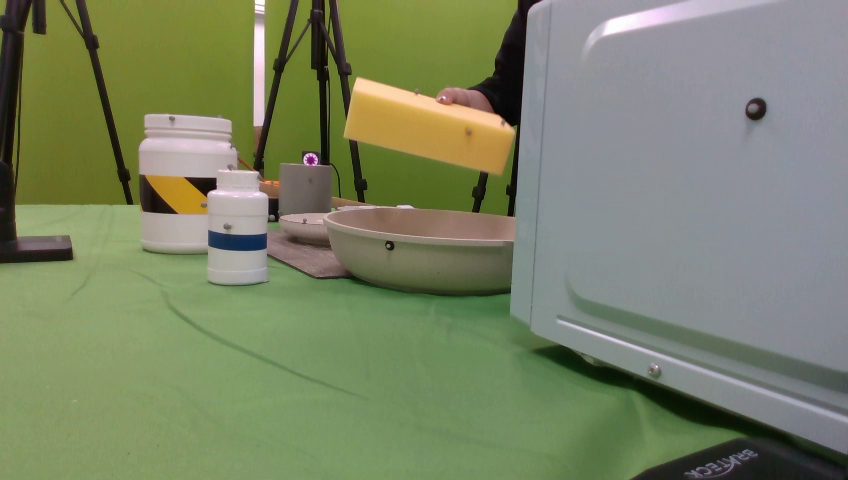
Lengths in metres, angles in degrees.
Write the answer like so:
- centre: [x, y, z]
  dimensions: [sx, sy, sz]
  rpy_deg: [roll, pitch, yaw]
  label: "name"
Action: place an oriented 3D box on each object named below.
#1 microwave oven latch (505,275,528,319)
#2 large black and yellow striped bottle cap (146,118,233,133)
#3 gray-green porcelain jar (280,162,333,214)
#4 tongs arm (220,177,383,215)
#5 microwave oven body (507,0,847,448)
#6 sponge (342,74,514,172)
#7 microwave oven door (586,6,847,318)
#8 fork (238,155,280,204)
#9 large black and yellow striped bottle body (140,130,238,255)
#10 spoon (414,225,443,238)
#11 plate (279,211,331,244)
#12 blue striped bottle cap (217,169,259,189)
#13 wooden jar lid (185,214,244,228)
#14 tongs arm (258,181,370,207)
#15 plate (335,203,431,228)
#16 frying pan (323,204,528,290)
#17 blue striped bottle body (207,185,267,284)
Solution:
- centre: [0.100, 0.042, 0.471]
  dimensions: [0.079, 0.029, 0.030]
  rpy_deg: [-1, 7, -29]
  label: "microwave oven latch"
- centre: [-0.333, -0.163, 0.861]
  dimensions: [0.115, 0.019, 0.115]
  rpy_deg: [1, 9, 0]
  label: "large black and yellow striped bottle cap"
- centre: [-0.238, -0.092, 1.221]
  dimensions: [0.106, 0.126, 0.106]
  rpy_deg: [2, 7, 0]
  label: "gray-green porcelain jar"
- centre: [-0.285, -0.103, 1.445]
  dimensions: [0.389, 0.027, 0.028]
  rpy_deg: [9, -4, -23]
  label: "tongs arm"
- centre: [0.331, -0.042, 0.425]
  dimensions: [0.444, 0.260, 0.324]
  rpy_deg: [-2, 8, -31]
  label: "microwave oven body"
- centre: [0.002, -0.154, 0.790]
  dimensions: [0.207, 0.061, 0.118]
  rpy_deg: [12, 21, -11]
  label: "sponge"
- centre: [0.296, -0.067, 0.567]
  dimensions: [0.358, 0.243, 0.039]
  rpy_deg: [-3, 7, -31]
  label: "microwave oven door"
- centre: [-0.396, -0.143, 1.486]
  dimensions: [0.028, 0.018, 0.208]
  rpy_deg: [19, -26, 44]
  label: "fork"
- centre: [-0.336, -0.078, 0.871]
  dimensions: [0.131, 0.184, 0.130]
  rpy_deg: [2, 8, 0]
  label: "large black and yellow striped bottle body"
- centre: [0.017, -0.020, 1.113]
  dimensions: [0.041, 0.021, 0.194]
  rpy_deg: [-14, 3, 12]
  label: "spoon"
- centre: [-0.139, -0.022, 1.021]
  dimensions: [0.209, 0.038, 0.209]
  rpy_deg: [3, 8, 0]
  label: "plate"
- centre: [-0.202, -0.067, 0.656]
  dimensions: [0.044, 0.020, 0.044]
  rpy_deg: [0, 10, 0]
  label: "blue striped bottle cap"
- centre: [-0.404, -0.037, 1.169]
  dimensions: [0.108, 0.020, 0.108]
  rpy_deg: [3, 7, 0]
  label: "wooden jar lid"
- centre: [-0.241, -0.095, 1.373]
  dimensions: [0.387, 0.026, 0.050]
  rpy_deg: [9, -1, -37]
  label: "tongs arm"
- centre: [-0.089, -0.054, 1.309]
  dimensions: [0.208, 0.039, 0.207]
  rpy_deg: [2, 8, 0]
  label: "plate"
- centre: [0.110, -0.017, 0.801]
  dimensions: [0.490, 0.102, 0.305]
  rpy_deg: [-12, 16, -30]
  label: "frying pan"
- centre: [-0.204, -0.016, 0.663]
  dimensions: [0.063, 0.120, 0.063]
  rpy_deg: [2, 7, 0]
  label: "blue striped bottle body"
